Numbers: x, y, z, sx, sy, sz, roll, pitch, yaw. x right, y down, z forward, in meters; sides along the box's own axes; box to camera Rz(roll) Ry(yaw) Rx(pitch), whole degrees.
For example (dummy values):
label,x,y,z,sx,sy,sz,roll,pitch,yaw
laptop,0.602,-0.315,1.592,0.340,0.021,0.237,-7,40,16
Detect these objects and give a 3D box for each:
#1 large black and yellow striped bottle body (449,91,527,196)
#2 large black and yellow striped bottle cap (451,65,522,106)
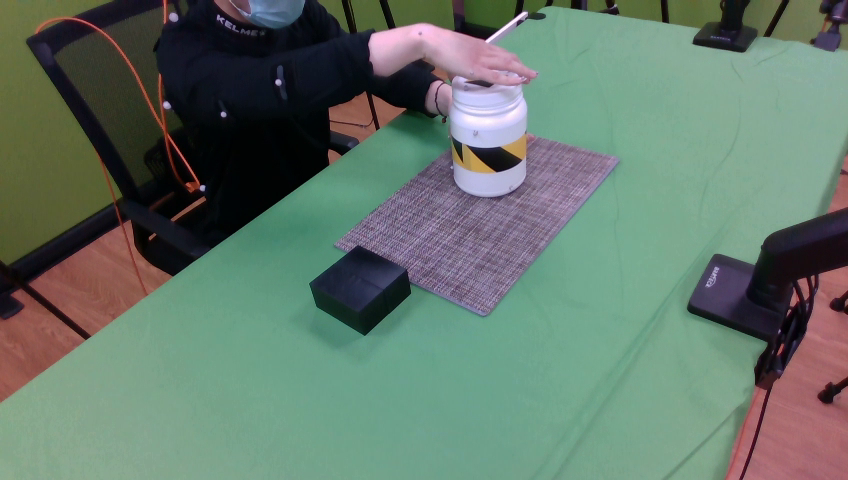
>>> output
label,x,y,z,sx,sy,sz,roll,pitch,yaw
large black and yellow striped bottle body,0.110,-0.182,1.034,0.131,0.185,0.130,-4,41,4
large black and yellow striped bottle cap,0.101,-0.251,0.974,0.115,0.019,0.114,-6,38,5
